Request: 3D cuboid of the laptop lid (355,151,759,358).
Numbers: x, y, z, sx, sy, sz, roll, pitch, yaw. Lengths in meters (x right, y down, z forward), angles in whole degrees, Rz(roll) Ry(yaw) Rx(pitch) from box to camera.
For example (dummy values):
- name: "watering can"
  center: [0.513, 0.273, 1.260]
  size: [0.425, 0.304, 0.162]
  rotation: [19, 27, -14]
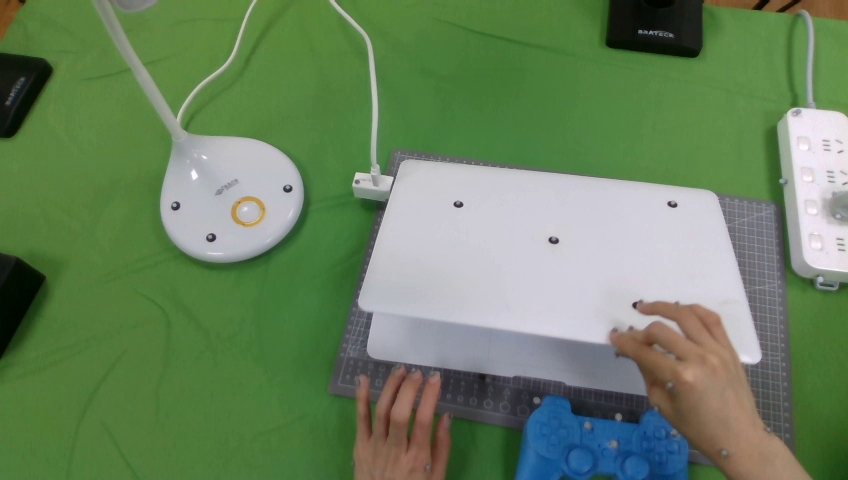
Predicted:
- name: "laptop lid"
  center: [0.127, -0.001, 0.601]
  size: [0.356, 0.013, 0.239]
  rotation: [8, 45, 6]

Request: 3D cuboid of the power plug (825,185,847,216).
- name: "power plug"
  center: [0.462, -0.036, 0.636]
  size: [0.072, 0.053, 0.035]
  rotation: [18, 66, 9]

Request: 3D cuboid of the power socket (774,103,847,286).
- name: "power socket"
  center: [0.438, -0.059, 0.673]
  size: [0.072, 0.033, 0.225]
  rotation: [8, 65, 4]

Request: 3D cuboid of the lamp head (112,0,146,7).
- name: "lamp head"
  center: [-0.194, -0.216, 0.348]
  size: [0.123, 0.112, 0.112]
  rotation: [35, 69, -8]

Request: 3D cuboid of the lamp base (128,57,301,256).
- name: "lamp base"
  center: [-0.234, -0.094, 0.628]
  size: [0.178, 0.182, 0.160]
  rotation: [35, 70, 20]

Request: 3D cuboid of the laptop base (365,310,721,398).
- name: "laptop base"
  center: [0.128, 0.031, 0.648]
  size: [0.354, 0.023, 0.234]
  rotation: [7, 69, 5]

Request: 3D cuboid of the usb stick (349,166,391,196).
- name: "usb stick"
  center: [-0.052, -0.065, 0.683]
  size: [0.059, 0.027, 0.021]
  rotation: [9, 61, 4]

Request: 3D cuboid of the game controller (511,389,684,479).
- name: "game controller"
  center: [0.162, 0.192, 0.555]
  size: [0.155, 0.052, 0.096]
  rotation: [7, 64, 5]
